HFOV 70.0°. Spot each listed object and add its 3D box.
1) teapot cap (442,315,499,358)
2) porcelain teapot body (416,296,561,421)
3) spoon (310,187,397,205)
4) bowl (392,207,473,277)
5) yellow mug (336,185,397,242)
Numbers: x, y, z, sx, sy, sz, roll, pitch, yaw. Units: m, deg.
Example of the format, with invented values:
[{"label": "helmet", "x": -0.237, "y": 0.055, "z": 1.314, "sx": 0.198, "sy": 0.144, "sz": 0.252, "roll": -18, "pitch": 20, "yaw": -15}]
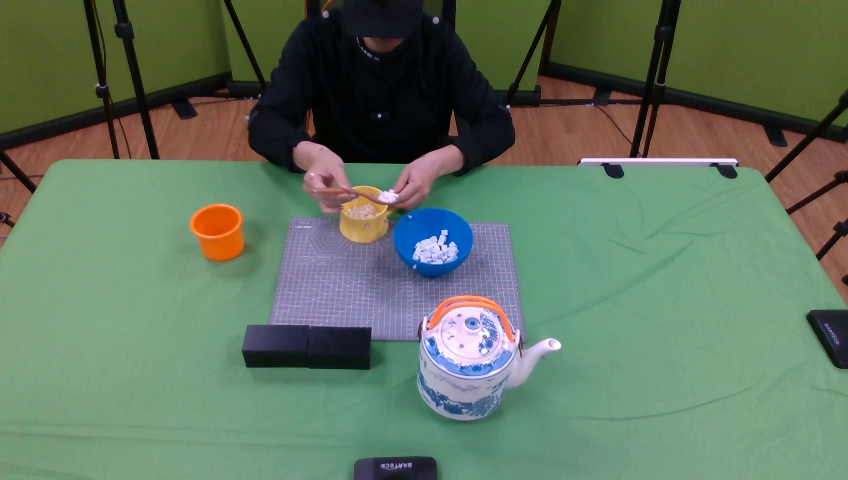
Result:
[{"label": "teapot cap", "x": 0.068, "y": 0.133, "z": 0.880, "sx": 0.085, "sy": 0.044, "sz": 0.084, "roll": 4, "pitch": 45, "yaw": -4}, {"label": "porcelain teapot body", "x": 0.094, "y": 0.164, "z": 0.907, "sx": 0.205, "sy": 0.226, "sz": 0.144, "roll": 6, "pitch": 45, "yaw": 1}, {"label": "spoon", "x": -0.123, "y": -0.082, "z": 1.074, "sx": 0.194, "sy": 0.021, "sz": 0.041, "roll": 7, "pitch": 21, "yaw": -48}, {"label": "bowl", "x": 0.014, "y": 0.016, "z": 1.140, "sx": 0.151, "sy": 0.077, "sz": 0.150, "roll": 2, "pitch": 46, "yaw": -2}, {"label": "yellow mug", "x": -0.110, "y": -0.059, "z": 1.211, "sx": 0.131, "sy": 0.064, "sz": 0.099, "roll": -25, "pitch": 53, "yaw": -25}]
